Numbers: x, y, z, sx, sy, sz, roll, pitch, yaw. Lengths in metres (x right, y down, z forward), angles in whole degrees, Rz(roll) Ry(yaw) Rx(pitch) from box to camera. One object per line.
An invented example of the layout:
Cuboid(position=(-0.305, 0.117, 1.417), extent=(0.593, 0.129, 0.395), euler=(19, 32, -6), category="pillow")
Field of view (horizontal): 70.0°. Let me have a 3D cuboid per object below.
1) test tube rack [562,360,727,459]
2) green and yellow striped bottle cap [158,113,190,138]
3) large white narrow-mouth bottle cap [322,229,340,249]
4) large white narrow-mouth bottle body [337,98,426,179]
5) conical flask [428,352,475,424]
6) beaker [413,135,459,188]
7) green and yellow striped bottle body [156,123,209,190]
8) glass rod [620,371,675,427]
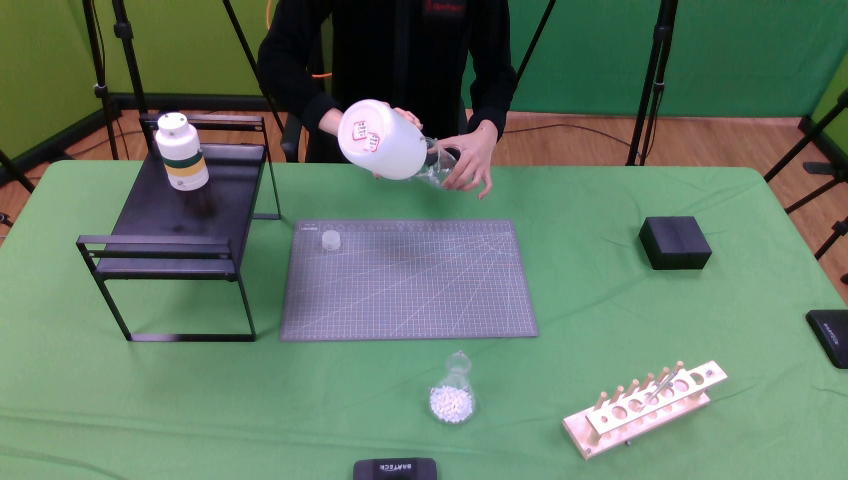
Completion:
Cuboid(position=(0.341, 0.247, 0.940), extent=(0.243, 0.085, 0.066), euler=(-16, 49, -18), category="test tube rack")
Cuboid(position=(-0.393, -0.180, 0.951), extent=(0.045, 0.020, 0.045), euler=(2, 44, -2), category="green and yellow striped bottle cap")
Cuboid(position=(-0.182, -0.003, 1.184), extent=(0.038, 0.024, 0.037), euler=(3, 45, -3), category="large white narrow-mouth bottle cap")
Cuboid(position=(-0.053, -0.153, 0.986), extent=(0.101, 0.195, 0.101), euler=(-4, 80, 24), category="large white narrow-mouth bottle body")
Cuboid(position=(0.046, 0.220, 0.920), extent=(0.075, 0.122, 0.075), euler=(2, 46, -2), category="conical flask")
Cuboid(position=(0.017, -0.138, 1.110), extent=(0.083, 0.101, 0.074), euler=(41, 99, 28), category="beaker")
Cuboid(position=(-0.395, -0.145, 0.989), extent=(0.063, 0.120, 0.063), euler=(2, 46, -2), category="green and yellow striped bottle body")
Cuboid(position=(0.316, 0.230, 0.863), extent=(0.008, 0.200, 0.008), euler=(3, 54, -3), category="glass rod")
